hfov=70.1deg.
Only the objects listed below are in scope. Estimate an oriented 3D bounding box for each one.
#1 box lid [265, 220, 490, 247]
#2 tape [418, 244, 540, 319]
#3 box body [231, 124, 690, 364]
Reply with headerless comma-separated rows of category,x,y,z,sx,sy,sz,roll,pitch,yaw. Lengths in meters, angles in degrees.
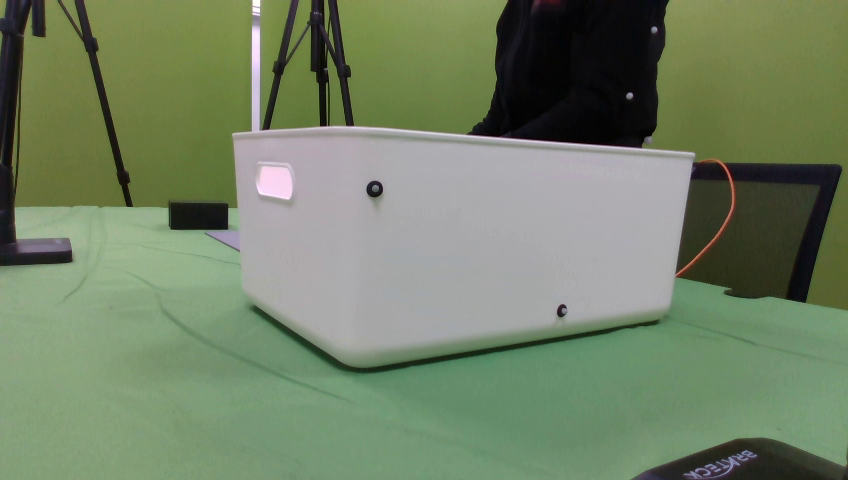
box lid,-0.094,-0.014,1.088,0.373,0.015,0.262,-2,8,-17
tape,0.051,0.036,0.570,0.117,0.052,0.117,3,7,0
box body,0.031,-0.013,0.563,0.366,0.160,0.253,-3,8,-33
